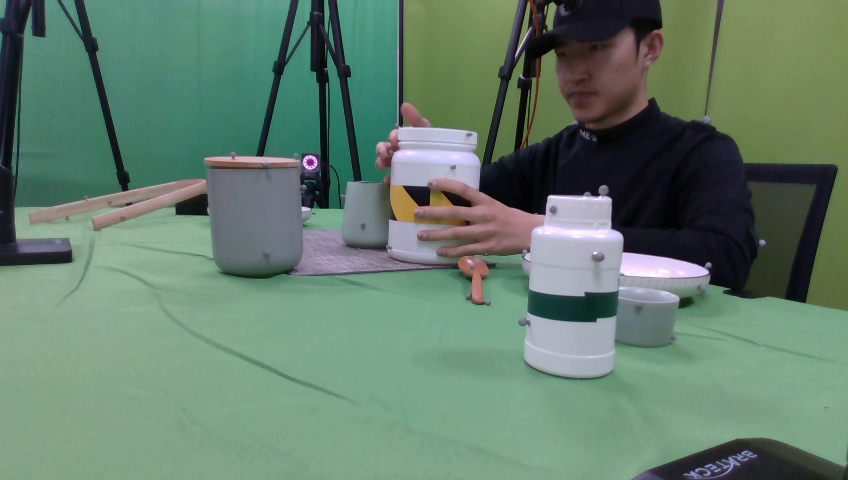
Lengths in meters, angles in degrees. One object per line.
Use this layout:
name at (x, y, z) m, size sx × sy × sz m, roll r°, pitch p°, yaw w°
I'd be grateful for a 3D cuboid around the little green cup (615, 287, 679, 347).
little green cup at (0.180, 0.064, 0.506) m, size 0.061 × 0.038 × 0.061 m, roll 2°, pitch 8°, yaw 0°

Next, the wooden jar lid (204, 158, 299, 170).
wooden jar lid at (-0.202, -0.086, 0.714) m, size 0.108 × 0.020 × 0.108 m, roll 3°, pitch 11°, yaw 0°

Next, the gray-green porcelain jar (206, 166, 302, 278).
gray-green porcelain jar at (-0.201, -0.024, 0.725) m, size 0.106 × 0.126 × 0.106 m, roll -1°, pitch 9°, yaw 1°

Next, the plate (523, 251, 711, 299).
plate at (0.219, 0.041, 0.706) m, size 0.209 × 0.038 × 0.209 m, roll 2°, pitch 7°, yaw 0°

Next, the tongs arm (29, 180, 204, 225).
tongs arm at (-0.609, -0.083, 1.245) m, size 0.050 × 0.026 × 0.386 m, roll 5°, pitch 16°, yaw 23°

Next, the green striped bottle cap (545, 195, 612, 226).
green striped bottle cap at (0.105, -0.020, 0.414) m, size 0.044 × 0.020 × 0.044 m, roll 2°, pitch 4°, yaw 0°

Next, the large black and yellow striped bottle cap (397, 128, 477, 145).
large black and yellow striped bottle cap at (0.019, -0.147, 0.858) m, size 0.115 × 0.019 × 0.115 m, roll 3°, pitch 9°, yaw 0°

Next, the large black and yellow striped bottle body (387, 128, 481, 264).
large black and yellow striped bottle body at (0.014, -0.064, 0.868) m, size 0.131 × 0.184 × 0.130 m, roll 3°, pitch 7°, yaw 0°

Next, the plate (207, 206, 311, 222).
plate at (-0.342, -0.050, 1.259) m, size 0.208 × 0.039 × 0.207 m, roll 3°, pitch 7°, yaw 0°

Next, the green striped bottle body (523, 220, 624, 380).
green striped bottle body at (0.104, 0.031, 0.422) m, size 0.063 × 0.119 × 0.063 m, roll 2°, pitch 8°, yaw 0°

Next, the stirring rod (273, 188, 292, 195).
stirring rod at (-0.354, -0.122, 1.518) m, size 0.006 × 0.014 × 0.176 m, roll 2°, pitch 6°, yaw 1°

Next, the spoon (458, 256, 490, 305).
spoon at (0.059, 0.044, 0.695) m, size 0.041 × 0.021 × 0.194 m, roll 17°, pitch 7°, yaw 1°

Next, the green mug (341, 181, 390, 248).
green mug at (-0.090, -0.044, 0.996) m, size 0.093 × 0.105 × 0.125 m, roll 0°, pitch 7°, yaw -9°

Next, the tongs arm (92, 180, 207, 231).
tongs arm at (-0.534, -0.076, 1.221) m, size 0.028 × 0.028 × 0.388 m, roll -2°, pitch 15°, yaw 12°
